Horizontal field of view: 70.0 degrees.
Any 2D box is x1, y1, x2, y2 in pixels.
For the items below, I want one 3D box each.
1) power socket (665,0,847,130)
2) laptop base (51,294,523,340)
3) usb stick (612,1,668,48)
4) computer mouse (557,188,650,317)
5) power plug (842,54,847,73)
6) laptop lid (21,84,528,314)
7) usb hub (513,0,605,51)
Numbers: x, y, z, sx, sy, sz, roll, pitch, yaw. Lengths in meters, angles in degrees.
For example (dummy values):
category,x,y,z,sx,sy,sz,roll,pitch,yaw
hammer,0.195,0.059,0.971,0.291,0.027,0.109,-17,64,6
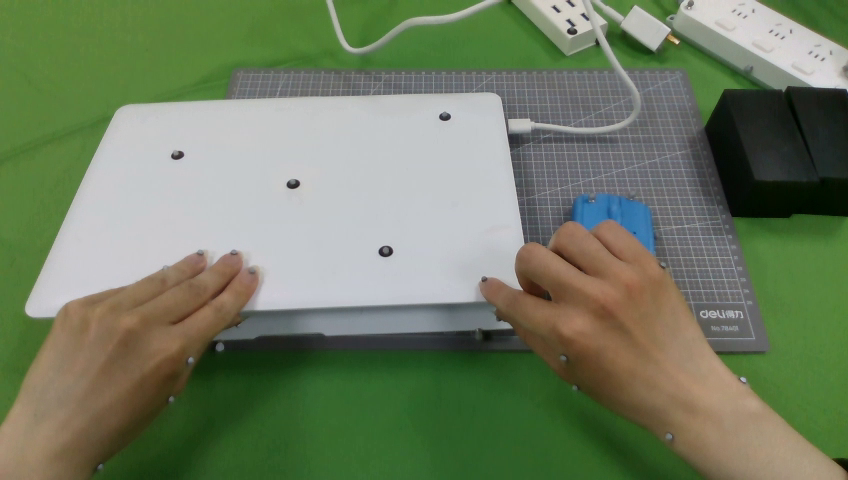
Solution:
category,x,y,z,sx,sy,sz,roll,pitch,yaw
power socket,0.346,-0.187,0.591,0.072,0.033,0.225,-37,64,-21
laptop base,-0.104,-0.030,0.508,0.354,0.023,0.233,-2,62,0
usb stick,0.223,-0.215,0.611,0.059,0.021,0.027,31,107,1
computer mouse,0.141,0.004,0.469,0.062,0.041,0.116,11,55,10
power plug,0.416,-0.169,0.553,0.072,0.053,0.035,-29,61,-14
laptop lid,-0.105,-0.046,0.483,0.357,0.013,0.239,-1,52,1
usb hub,0.132,-0.251,0.638,0.049,0.025,0.124,-26,61,-14
